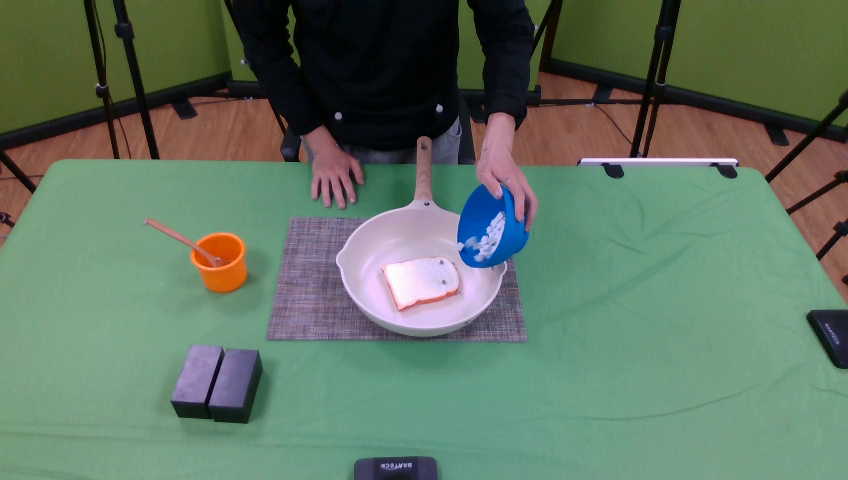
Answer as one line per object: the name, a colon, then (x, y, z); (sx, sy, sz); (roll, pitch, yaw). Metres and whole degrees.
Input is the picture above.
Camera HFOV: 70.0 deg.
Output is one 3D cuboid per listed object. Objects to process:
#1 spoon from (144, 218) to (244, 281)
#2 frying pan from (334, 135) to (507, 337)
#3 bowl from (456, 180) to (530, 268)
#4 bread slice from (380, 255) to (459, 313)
spoon: (-0.401, 0.015, 1.064); (0.195, 0.021, 0.041); (41, 36, -29)
frying pan: (-0.004, -0.026, 1.160); (0.307, 0.103, 0.485); (4, 55, -2)
bowl: (0.126, -0.020, 1.031); (0.077, 0.152, 0.150); (13, 41, -27)
bread slice: (-0.005, 0.075, 1.119); (0.134, 0.018, 0.106); (-17, 50, -16)
